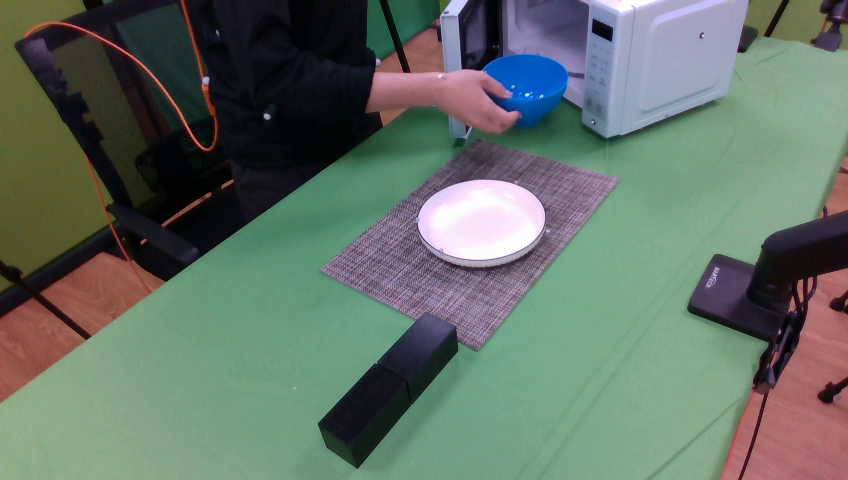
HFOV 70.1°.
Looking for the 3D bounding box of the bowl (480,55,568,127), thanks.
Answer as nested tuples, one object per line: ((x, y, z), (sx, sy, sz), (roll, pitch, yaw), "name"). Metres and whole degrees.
((0.172, -0.250, 1.053), (0.151, 0.077, 0.150), (-3, 45, 3), "bowl")

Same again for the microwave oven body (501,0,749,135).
((0.382, -0.444, 1.246), (0.327, 0.261, 0.437), (-22, 42, -16), "microwave oven body")

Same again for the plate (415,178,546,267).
((0.091, -0.026, 0.970), (0.207, 0.039, 0.206), (-4, 41, 4), "plate")

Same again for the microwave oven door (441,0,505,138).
((0.108, -0.405, 1.231), (0.039, 0.245, 0.355), (7, 43, 17), "microwave oven door")

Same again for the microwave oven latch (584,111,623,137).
((0.337, -0.222, 1.142), (0.030, 0.029, 0.078), (-21, 42, -14), "microwave oven latch")
